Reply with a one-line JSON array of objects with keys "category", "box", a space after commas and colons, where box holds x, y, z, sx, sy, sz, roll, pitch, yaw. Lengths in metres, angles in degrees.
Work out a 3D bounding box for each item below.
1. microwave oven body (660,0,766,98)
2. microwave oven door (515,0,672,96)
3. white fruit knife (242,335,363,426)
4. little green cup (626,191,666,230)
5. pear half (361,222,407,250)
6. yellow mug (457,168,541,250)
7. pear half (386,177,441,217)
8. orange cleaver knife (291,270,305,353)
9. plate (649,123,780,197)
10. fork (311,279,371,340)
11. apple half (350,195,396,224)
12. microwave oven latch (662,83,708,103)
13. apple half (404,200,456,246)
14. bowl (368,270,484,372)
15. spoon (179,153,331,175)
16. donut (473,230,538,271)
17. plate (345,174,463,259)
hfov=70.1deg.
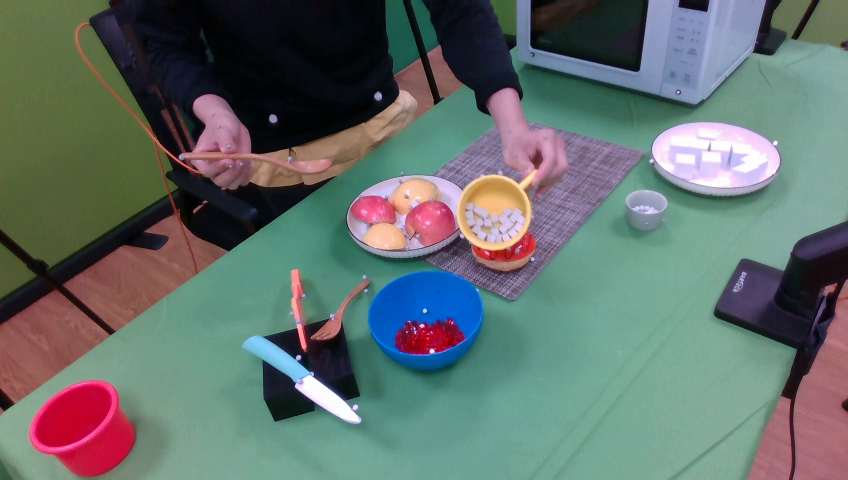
[{"category": "microwave oven body", "box": [0.472, -0.513, 1.317, 0.438, 0.261, 0.327, 26, 51, 34]}, {"category": "microwave oven door", "box": [0.343, -0.455, 1.259, 0.353, 0.245, 0.039, 26, 51, 33]}, {"category": "white fruit knife", "box": [-0.148, 0.167, 0.730, 0.206, 0.016, 0.027, 26, 80, 31]}, {"category": "little green cup", "box": [0.352, -0.046, 0.963, 0.061, 0.039, 0.061, -4, 40, 4]}, {"category": "pear half", "box": [-0.063, -0.012, 0.959, 0.071, 0.031, 0.087, 2, 25, -24]}, {"category": "yellow mug", "box": [0.108, -0.051, 0.820, 0.130, 0.100, 0.064, -44, -2, 11]}, {"category": "pear half", "box": [-0.030, -0.079, 1.033, 0.109, 0.056, 0.076, -1, 36, 15]}, {"category": "orange cleaver knife", "box": [-0.175, 0.094, 0.844, 0.012, 0.077, 0.210, -11, 14, -10]}, {"category": "plate", "box": [0.497, -0.135, 1.046, 0.207, 0.039, 0.206, -4, 40, 4]}, {"category": "fork", "box": [-0.108, 0.092, 0.832, 0.028, 0.019, 0.207, -7, 19, 15]}, {"category": "apple half", "box": [-0.080, -0.056, 1.008, 0.081, 0.033, 0.081, 11, 24, -4]}, {"category": "microwave oven latch", "box": [0.517, -0.296, 1.204, 0.078, 0.029, 0.030, 28, 52, 35]}, {"category": "apple half", "box": [0.009, -0.035, 0.969, 0.075, 0.053, 0.080, -27, 40, -22]}, {"category": "bowl", "box": [0.007, 0.118, 0.792, 0.151, 0.077, 0.150, -5, 40, 4]}, {"category": "spoon", "box": [-0.223, -0.106, 0.810, 0.195, 0.021, 0.041, 5, 30, -20]}, {"category": "donut", "box": [0.124, 0.008, 0.923, 0.099, 0.048, 0.098, -3, 37, 3]}, {"category": "plate", "box": [-0.026, -0.036, 1.004, 0.209, 0.038, 0.208, -4, 40, 4]}]
